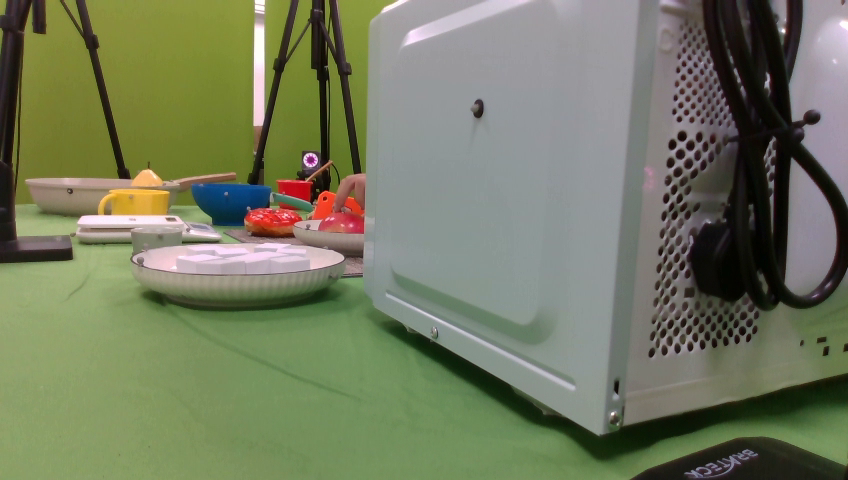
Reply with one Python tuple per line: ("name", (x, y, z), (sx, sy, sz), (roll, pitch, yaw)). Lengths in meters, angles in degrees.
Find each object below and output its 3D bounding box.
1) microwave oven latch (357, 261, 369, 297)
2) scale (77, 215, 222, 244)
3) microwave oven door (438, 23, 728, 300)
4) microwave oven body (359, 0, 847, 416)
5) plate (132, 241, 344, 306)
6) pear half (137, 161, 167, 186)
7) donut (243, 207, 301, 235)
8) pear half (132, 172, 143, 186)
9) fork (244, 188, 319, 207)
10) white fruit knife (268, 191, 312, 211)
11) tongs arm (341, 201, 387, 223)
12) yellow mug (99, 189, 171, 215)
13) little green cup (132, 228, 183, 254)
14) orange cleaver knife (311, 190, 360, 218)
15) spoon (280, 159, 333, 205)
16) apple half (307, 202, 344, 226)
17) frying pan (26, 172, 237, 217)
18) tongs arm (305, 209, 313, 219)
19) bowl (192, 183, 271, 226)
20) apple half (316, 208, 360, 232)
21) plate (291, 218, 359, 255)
("microwave oven latch", (-0.019, 0.033, 0.530), (0.079, 0.029, 0.030), (-1, 7, -26))
("scale", (-0.434, -0.019, 0.963), (0.202, 0.031, 0.148), (-1, 9, -27))
("microwave oven door", (0.181, -0.073, 0.621), (0.358, 0.243, 0.039), (-2, 8, -29))
("microwave oven body", (0.211, -0.047, 0.474), (0.444, 0.260, 0.324), (-1, 7, -28))
("plate", (-0.187, 0.033, 0.625), (0.208, 0.039, 0.207), (2, 7, 0))
("pear half", (-0.602, -0.120, 1.354), (0.056, 0.110, 0.076), (4, 11, 6))
("donut", (-0.261, -0.032, 1.043), (0.099, 0.048, 0.099), (4, 9, 0))
("pear half", (-0.638, -0.113, 1.361), (0.031, 0.088, 0.070), (5, 10, 4))
("fork", (-0.356, -0.105, 1.526), (0.208, 0.018, 0.028), (16, -6, -41))
("white fruit knife", (-0.364, -0.105, 1.464), (0.208, 0.027, 0.016), (15, 0, -34))
("tongs arm", (-0.149, -0.069, 1.430), (0.051, 0.026, 0.383), (-4, 8, -14))
("yellow mug", (-0.518, -0.055, 1.080), (0.099, 0.064, 0.131), (6, 9, 26))
("little green cup", (-0.342, 0.006, 0.779), (0.061, 0.038, 0.061), (2, 8, 0))
("orange cleaver knife", (-0.114, -0.057, 1.159), (0.212, 0.077, 0.012), (-2, 15, -27))
("spoon", (-0.316, -0.159, 1.640), (0.194, 0.022, 0.041), (-50, 32, -20))
("apple half", (-0.193, -0.047, 1.223), (0.081, 0.032, 0.081), (-21, -6, -2))
("frying pan", (-0.624, -0.118, 1.387), (0.305, 0.102, 0.490), (8, 17, 32))
("tongs arm", (-0.234, -0.067, 1.415), (0.028, 0.028, 0.387), (-5, 7, 1))
("bowl", (-0.382, -0.071, 1.202), (0.151, 0.077, 0.151), (3, 7, 0))
("apple half", (-0.122, -0.020, 0.901), (0.080, 0.053, 0.075), (5, 12, 21))
("plate", (-0.098, -0.007, 0.928), (0.209, 0.038, 0.209), (2, 7, 0))
